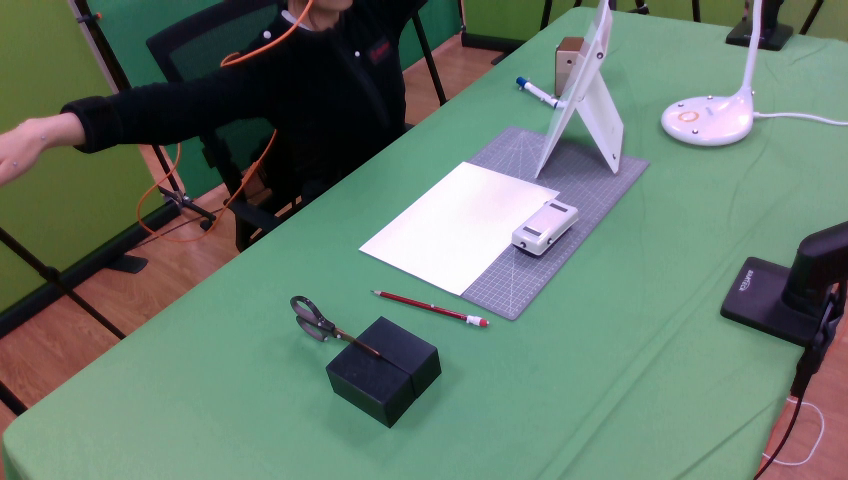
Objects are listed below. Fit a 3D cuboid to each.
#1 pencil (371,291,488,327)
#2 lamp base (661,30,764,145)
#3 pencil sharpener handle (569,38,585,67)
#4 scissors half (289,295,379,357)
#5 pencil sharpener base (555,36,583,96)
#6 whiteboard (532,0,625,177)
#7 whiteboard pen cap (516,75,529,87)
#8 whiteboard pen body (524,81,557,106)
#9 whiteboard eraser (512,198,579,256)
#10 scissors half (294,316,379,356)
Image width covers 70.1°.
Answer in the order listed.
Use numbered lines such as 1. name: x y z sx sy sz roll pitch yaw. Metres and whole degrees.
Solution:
1. pencil: 0.003 0.097 0.877 0.193 0.012 0.012 13 45 26
2. lamp base: 0.535 -0.287 1.095 0.179 0.181 0.159 -10 40 -4
3. pencil sharpener handle: 0.332 -0.413 1.317 0.036 0.068 0.030 19 46 13
4. scissors half: -0.123 0.114 0.803 0.174 0.040 0.013 26 47 32
5. pencil sharpener base: 0.317 -0.371 1.290 0.061 0.107 0.076 10 43 22
6. whiteboard: 0.320 -0.258 1.050 0.144 0.306 0.217 21 45 5
7. whiteboard pen cap: 0.221 -0.355 1.352 0.018 0.018 0.033 -24 46 -17
8. whiteboard pen body: 0.249 -0.321 1.313 0.017 0.017 0.139 -24 44 -17
9. whiteboard eraser: 0.191 -0.019 0.948 0.055 0.042 0.113 26 51 36
10. scissors half: -0.120 0.132 0.813 0.174 0.040 0.013 9 31 44
